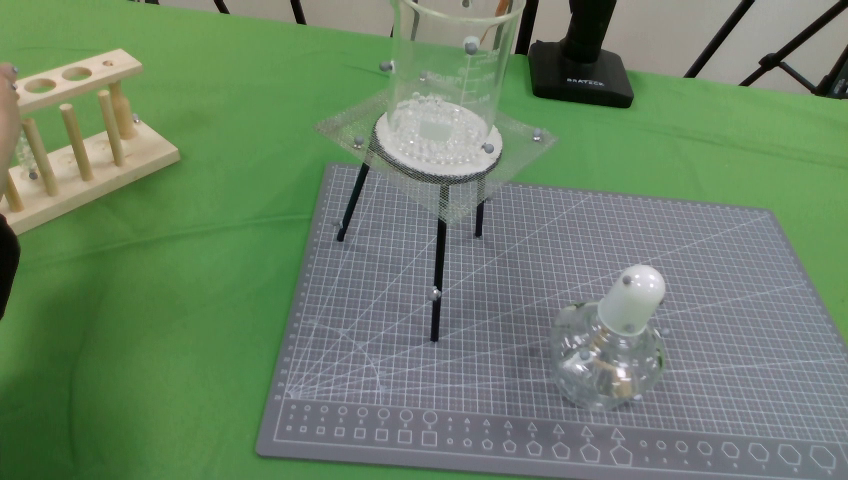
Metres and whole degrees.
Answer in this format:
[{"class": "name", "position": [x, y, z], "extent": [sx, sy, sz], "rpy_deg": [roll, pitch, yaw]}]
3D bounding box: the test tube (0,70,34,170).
[{"class": "test tube", "position": [-0.324, -0.119, 0.455], "extent": [0.017, 0.151, 0.017], "rpy_deg": [3, 39, -2]}]

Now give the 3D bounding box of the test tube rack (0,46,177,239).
[{"class": "test tube rack", "position": [-0.326, -0.064, 0.472], "extent": [0.066, 0.086, 0.242], "rpy_deg": [35, 50, 23]}]

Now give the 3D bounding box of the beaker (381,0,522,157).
[{"class": "beaker", "position": [0.009, -0.108, 0.372], "extent": [0.084, 0.101, 0.073], "rpy_deg": [2, 46, -8]}]

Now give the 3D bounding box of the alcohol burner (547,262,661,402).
[{"class": "alcohol burner", "position": [0.125, 0.056, 0.405], "extent": [0.078, 0.120, 0.077], "rpy_deg": [6, 44, -5]}]

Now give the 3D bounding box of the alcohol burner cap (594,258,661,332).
[{"class": "alcohol burner cap", "position": [0.130, 0.032, 0.378], "extent": [0.034, 0.048, 0.033], "rpy_deg": [4, 49, -5]}]

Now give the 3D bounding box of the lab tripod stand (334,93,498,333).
[{"class": "lab tripod stand", "position": [0.001, -0.027, 0.452], "extent": [0.148, 0.132, 0.147], "rpy_deg": [6, 46, -6]}]

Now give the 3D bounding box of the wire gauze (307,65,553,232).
[{"class": "wire gauze", "position": [0.006, -0.073, 0.406], "extent": [0.124, 0.011, 0.121], "rpy_deg": [37, 54, 20]}]
